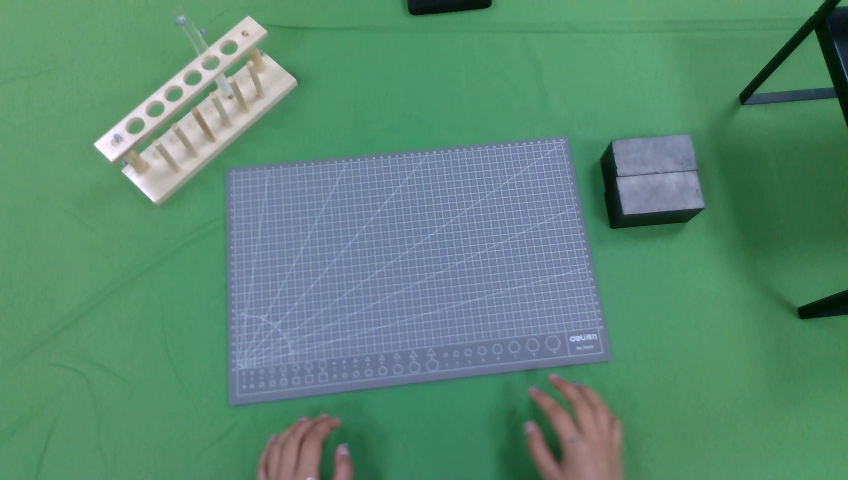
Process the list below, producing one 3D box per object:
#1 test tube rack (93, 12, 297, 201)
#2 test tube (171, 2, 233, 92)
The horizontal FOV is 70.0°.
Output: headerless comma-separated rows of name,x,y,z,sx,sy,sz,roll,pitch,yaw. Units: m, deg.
test tube rack,-0.278,-0.166,0.760,0.066,0.085,0.242,41,76,11
test tube,-0.262,-0.226,0.726,0.017,0.151,0.017,-1,68,4
